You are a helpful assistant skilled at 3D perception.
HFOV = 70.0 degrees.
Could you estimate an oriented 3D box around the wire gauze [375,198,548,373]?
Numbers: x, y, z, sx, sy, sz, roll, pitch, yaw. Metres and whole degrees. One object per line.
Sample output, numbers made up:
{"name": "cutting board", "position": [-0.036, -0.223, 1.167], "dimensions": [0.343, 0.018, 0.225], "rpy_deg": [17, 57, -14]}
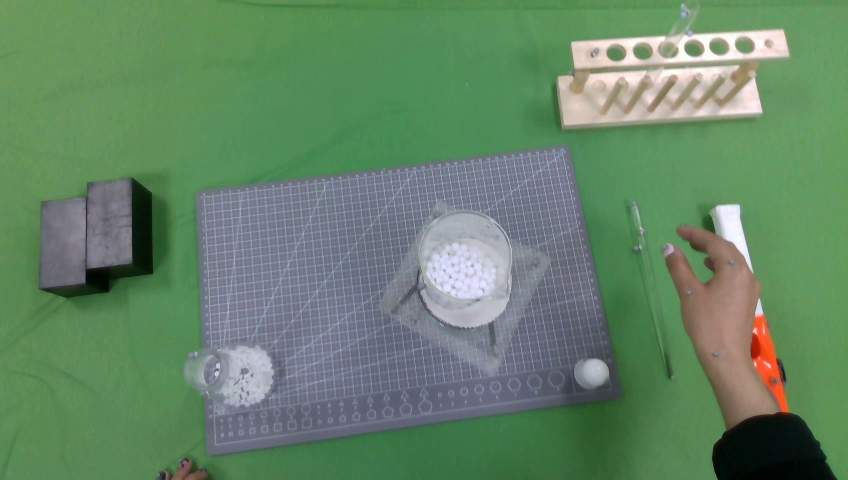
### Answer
{"name": "wire gauze", "position": [0.035, 0.039, 0.559], "dimensions": [0.125, 0.011, 0.121], "rpy_deg": [29, 80, 6]}

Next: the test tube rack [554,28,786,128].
{"name": "test tube rack", "position": [0.284, -0.189, 0.714], "dimensions": [0.242, 0.085, 0.066], "rpy_deg": [-4, 75, -1]}

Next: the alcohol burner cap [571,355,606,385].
{"name": "alcohol burner cap", "position": [0.179, 0.137, 0.649], "dimensions": [0.034, 0.048, 0.033], "rpy_deg": [0, 74, 0]}

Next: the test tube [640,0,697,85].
{"name": "test tube", "position": [0.266, -0.214, 0.670], "dimensions": [0.017, 0.151, 0.017], "rpy_deg": [-1, 75, 3]}

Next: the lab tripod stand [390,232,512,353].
{"name": "lab tripod stand", "position": [0.033, 0.054, 0.623], "dimensions": [0.148, 0.132, 0.147], "rpy_deg": [0, 77, 1]}

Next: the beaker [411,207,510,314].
{"name": "beaker", "position": [0.032, 0.024, 0.513], "dimensions": [0.083, 0.101, 0.074], "rpy_deg": [41, 80, 10]}

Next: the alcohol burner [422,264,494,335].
{"name": "alcohol burner", "position": [0.036, 0.060, 0.632], "dimensions": [0.078, 0.119, 0.077], "rpy_deg": [0, 76, 2]}

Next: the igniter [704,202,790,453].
{"name": "igniter", "position": [0.357, 0.091, 0.672], "dimensions": [0.057, 0.025, 0.275], "rpy_deg": [-3, 75, -12]}

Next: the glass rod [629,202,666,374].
{"name": "glass rod", "position": [0.255, 0.053, 0.692], "dimensions": [0.008, 0.008, 0.198], "rpy_deg": [-6, 78, -2]}

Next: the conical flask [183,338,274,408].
{"name": "conical flask", "position": [-0.200, 0.130, 0.608], "dimensions": [0.075, 0.122, 0.075], "rpy_deg": [0, 75, 0]}
